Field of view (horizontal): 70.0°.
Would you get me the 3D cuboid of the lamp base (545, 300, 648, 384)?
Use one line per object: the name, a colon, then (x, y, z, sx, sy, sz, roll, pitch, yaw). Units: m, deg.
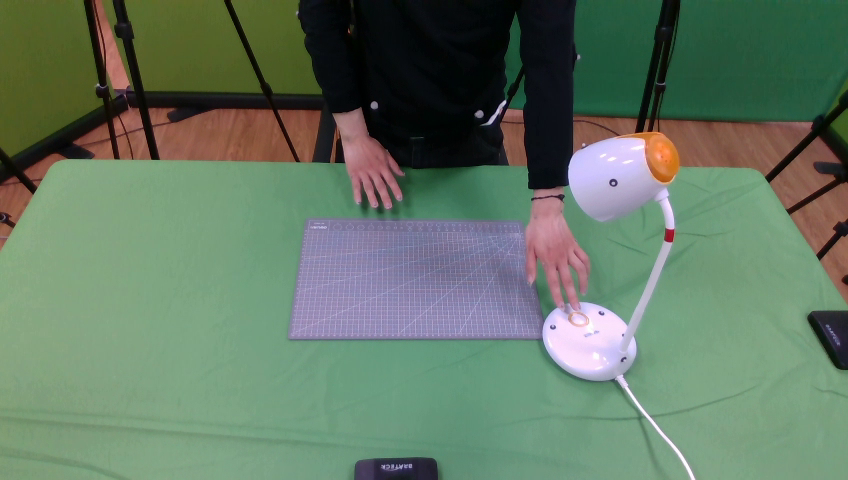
lamp base: (0.299, 0.125, 0.983, 0.161, 0.181, 0.178, -23, 55, -23)

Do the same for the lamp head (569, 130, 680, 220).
lamp head: (0.272, -0.089, 0.798, 0.113, 0.122, 0.112, 7, 78, -33)
